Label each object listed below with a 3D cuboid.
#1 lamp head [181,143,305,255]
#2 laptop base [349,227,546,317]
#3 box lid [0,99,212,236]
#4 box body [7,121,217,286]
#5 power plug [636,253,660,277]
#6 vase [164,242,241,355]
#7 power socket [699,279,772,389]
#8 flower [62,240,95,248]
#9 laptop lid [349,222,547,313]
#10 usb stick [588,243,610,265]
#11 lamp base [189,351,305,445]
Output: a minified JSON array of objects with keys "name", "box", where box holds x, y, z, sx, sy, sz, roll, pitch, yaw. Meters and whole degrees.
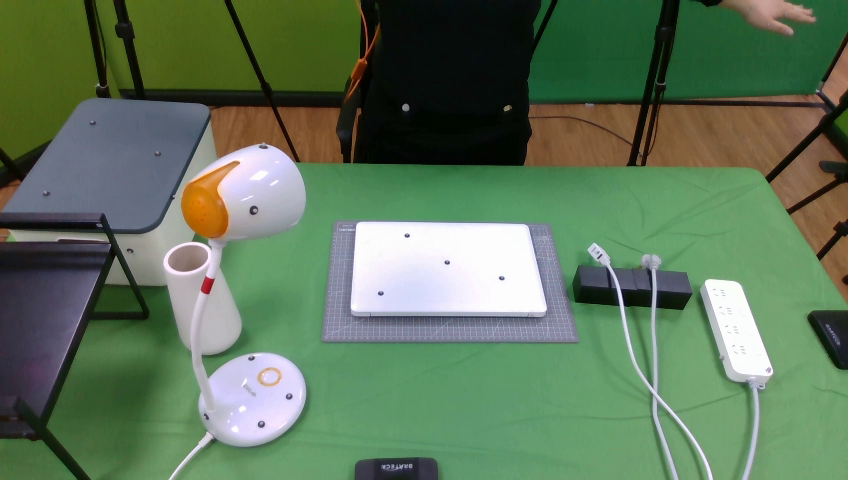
[{"name":"lamp head","box":[-0.216,-0.044,0.697,0.112,0.113,0.123,23,31,17]},{"name":"laptop base","box":[0.040,0.055,1.149,0.355,0.023,0.234,1,42,-4]},{"name":"box lid","box":[-0.556,-0.143,1.090,0.263,0.015,0.369,2,46,-1]},{"name":"box body","box":[-0.560,-0.092,1.144,0.254,0.161,0.361,3,46,-2]},{"name":"power plug","box":[0.415,0.050,1.139,0.035,0.053,0.072,46,49,10]},{"name":"vase","box":[-0.349,0.096,0.954,0.098,0.201,0.097,3,47,-3]},{"name":"power socket","box":[0.551,0.157,1.081,0.072,0.033,0.225,5,46,1]},{"name":"flower","box":[-0.557,-0.053,1.195,0.044,0.038,0.361,47,54,2]},{"name":"laptop lid","box":[0.041,0.045,1.143,0.357,0.013,0.240,2,44,-3]},{"name":"usb stick","box":[0.336,0.024,1.172,0.027,0.021,0.059,33,16,-13]},{"name":"lamp base","box":[-0.268,0.196,0.876,0.160,0.181,0.179,26,52,20]}]
